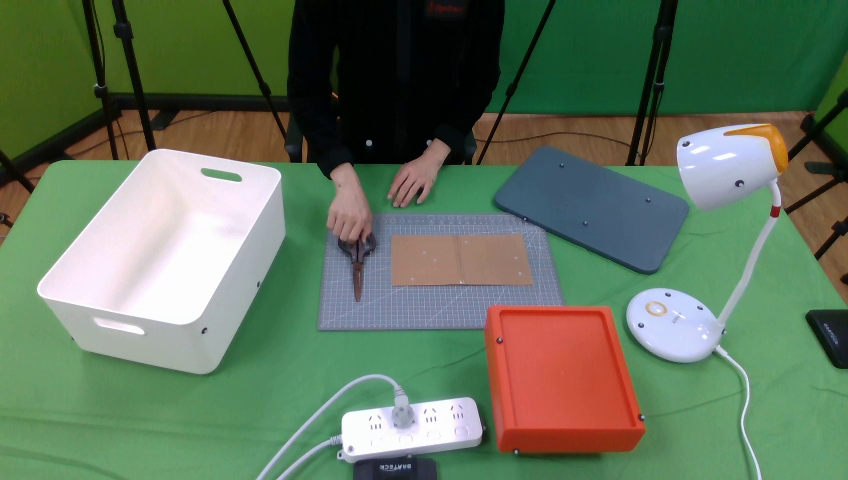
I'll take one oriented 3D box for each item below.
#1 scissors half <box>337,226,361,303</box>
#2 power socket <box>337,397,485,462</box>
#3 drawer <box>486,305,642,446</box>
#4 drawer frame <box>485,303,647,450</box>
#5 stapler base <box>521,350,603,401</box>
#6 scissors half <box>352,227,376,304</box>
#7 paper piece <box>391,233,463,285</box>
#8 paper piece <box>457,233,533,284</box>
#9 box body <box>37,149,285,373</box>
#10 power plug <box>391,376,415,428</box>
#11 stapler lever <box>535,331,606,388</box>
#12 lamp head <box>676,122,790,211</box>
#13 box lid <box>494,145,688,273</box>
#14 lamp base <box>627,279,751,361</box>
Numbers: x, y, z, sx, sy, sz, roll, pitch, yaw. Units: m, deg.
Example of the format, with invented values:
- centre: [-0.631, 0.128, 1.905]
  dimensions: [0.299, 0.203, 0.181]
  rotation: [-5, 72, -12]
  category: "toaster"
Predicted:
- centre: [-0.138, 0.045, 1.145]
  dimensions: [0.040, 0.013, 0.174]
  rotation: [-5, 55, -17]
  category: "scissors half"
- centre: [-0.018, 0.285, 0.915]
  dimensions: [0.227, 0.033, 0.071]
  rotation: [-4, 46, -8]
  category: "power socket"
- centre: [0.202, 0.200, 0.919]
  dimensions: [0.195, 0.073, 0.210]
  rotation: [2, 47, -4]
  category: "drawer"
- centre: [0.204, 0.202, 0.917]
  dimensions: [0.202, 0.083, 0.212]
  rotation: [1, 47, -4]
  category: "drawer frame"
- centre: [0.217, 0.203, 0.942]
  dimensions: [0.130, 0.024, 0.041]
  rotation: [26, 33, 16]
  category: "stapler base"
- centre: [-0.118, 0.047, 1.150]
  dimensions: [0.040, 0.013, 0.174]
  rotation: [13, 51, -10]
  category: "scissors half"
- centre: [0.004, 0.035, 1.170]
  dimensions: [0.135, 0.004, 0.135]
  rotation: [1, 46, -4]
  category: "paper piece"
- centre: [0.136, 0.035, 1.182]
  dimensions: [0.136, 0.009, 0.137]
  rotation: [2, 45, -7]
  category: "paper piece"
- centre: [-0.414, 0.029, 1.039]
  dimensions: [0.254, 0.161, 0.362]
  rotation: [10, 46, 5]
  category: "box body"
- centre: [-0.030, 0.249, 0.917]
  dimensions: [0.035, 0.053, 0.072]
  rotation: [3, 46, 0]
  category: "power plug"
- centre: [0.225, 0.181, 0.929]
  dimensions: [0.118, 0.040, 0.027]
  rotation: [27, 34, 15]
  category: "stapler lever"
- centre: [0.423, -0.104, 0.819]
  dimensions: [0.122, 0.113, 0.112]
  rotation: [-13, 33, 40]
  category: "lamp head"
- centre: [0.360, -0.081, 1.311]
  dimensions: [0.370, 0.015, 0.263]
  rotation: [27, 49, 20]
  category: "box lid"
- centre: [0.460, 0.100, 1.027]
  dimensions: [0.178, 0.181, 0.160]
  rotation: [27, 51, 17]
  category: "lamp base"
